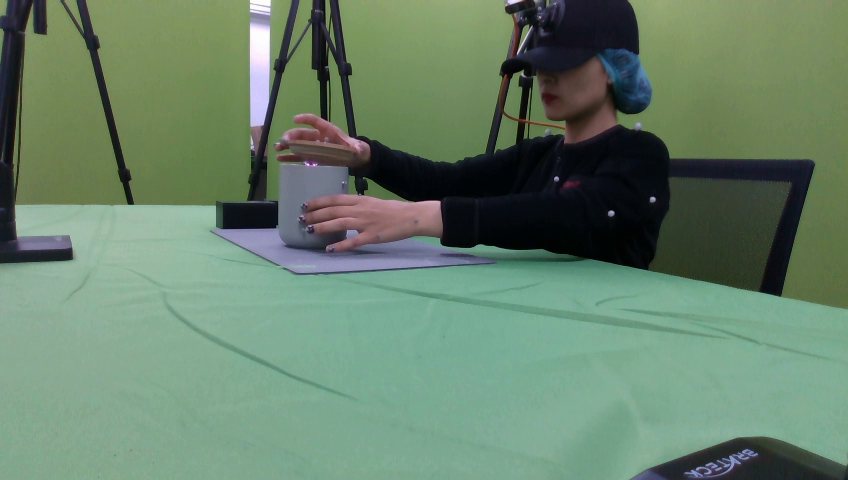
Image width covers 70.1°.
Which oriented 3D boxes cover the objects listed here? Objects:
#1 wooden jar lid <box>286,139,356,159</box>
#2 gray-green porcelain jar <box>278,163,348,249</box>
[{"bbox_3d":[-0.161,-0.141,0.945,0.108,0.020,0.108,6,6,0],"label":"wooden jar lid"},{"bbox_3d":[-0.171,-0.053,0.934,0.106,0.126,0.106,2,7,0],"label":"gray-green porcelain jar"}]
